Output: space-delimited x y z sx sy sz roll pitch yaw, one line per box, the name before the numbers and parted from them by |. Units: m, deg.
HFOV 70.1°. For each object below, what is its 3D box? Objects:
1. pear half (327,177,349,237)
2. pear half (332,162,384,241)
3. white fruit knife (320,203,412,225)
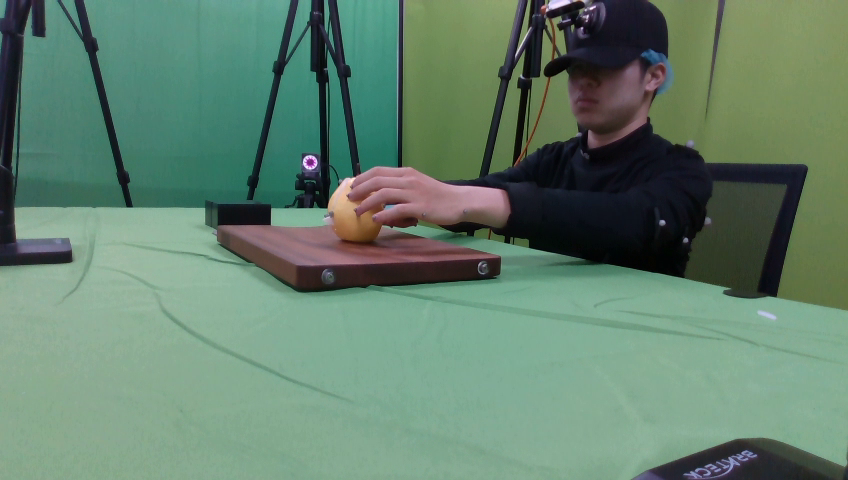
pear half | -0.117 -0.046 0.864 0.031 0.088 0.071 0 8 29
pear half | -0.085 -0.053 0.840 0.056 0.110 0.076 7 12 30
white fruit knife | -0.080 -0.038 0.896 0.016 0.027 0.208 5 9 33
